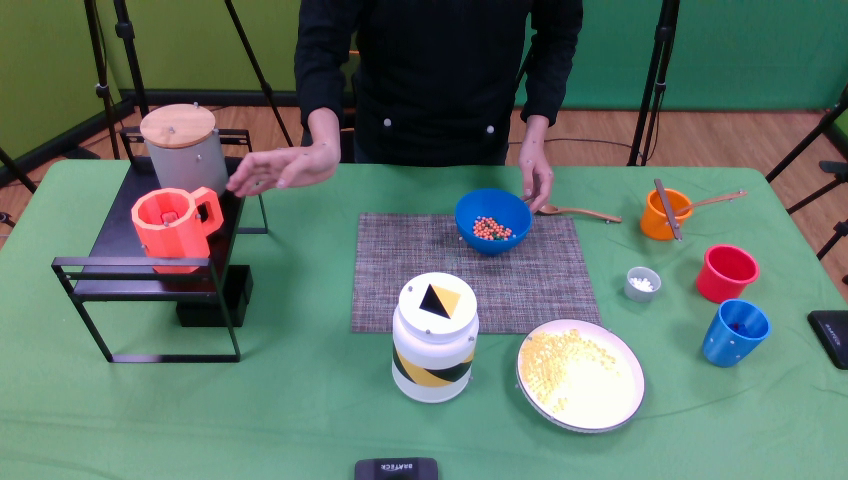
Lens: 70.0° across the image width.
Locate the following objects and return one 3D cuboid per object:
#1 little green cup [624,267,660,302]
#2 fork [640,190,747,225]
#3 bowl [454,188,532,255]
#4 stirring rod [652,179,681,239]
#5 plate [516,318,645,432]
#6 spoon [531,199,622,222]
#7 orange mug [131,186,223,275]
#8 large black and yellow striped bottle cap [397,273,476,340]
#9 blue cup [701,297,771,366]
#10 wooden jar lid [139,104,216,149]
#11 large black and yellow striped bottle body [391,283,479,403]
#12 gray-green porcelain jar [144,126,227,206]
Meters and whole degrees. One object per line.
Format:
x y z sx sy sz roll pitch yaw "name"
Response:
0.406 0.084 1.135 0.061 0.039 0.061 3 45 -3 "little green cup"
0.533 -0.065 1.211 0.207 0.019 0.028 -22 28 39 "fork"
0.130 -0.024 1.187 0.151 0.077 0.150 3 45 -3 "bowl"
0.481 -0.065 1.204 0.014 0.006 0.175 1 46 -1 "stirring rod"
0.253 0.221 0.992 0.209 0.038 0.208 2 46 -2 "plate"
0.321 -0.060 1.279 0.194 0.022 0.041 8 31 4 "spoon"
-0.354 -0.023 0.887 0.083 0.101 0.126 31 56 24 "orange mug"
0.018 0.094 0.878 0.115 0.019 0.114 3 46 -3 "large black and yellow striped bottle cap"
0.519 0.162 1.025 0.093 0.101 0.092 3 45 -3 "blue cup"
-0.372 -0.169 0.920 0.108 0.021 0.107 4 44 -4 "wooden jar lid"
0.015 0.153 0.938 0.131 0.185 0.130 2 46 -2 "large black and yellow striped bottle body"
-0.375 -0.125 0.967 0.106 0.127 0.105 2 46 -2 "gray-green porcelain jar"
